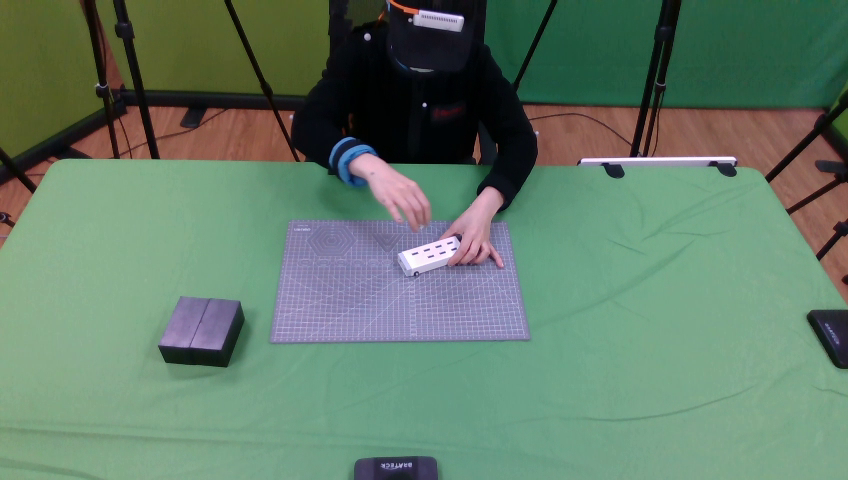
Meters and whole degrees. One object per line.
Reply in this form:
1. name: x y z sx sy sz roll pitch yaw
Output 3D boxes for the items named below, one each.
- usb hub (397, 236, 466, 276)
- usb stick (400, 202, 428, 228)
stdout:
1. usb hub: 0.015 0.030 1.162 0.125 0.025 0.049 -16 50 -19
2. usb stick: -0.014 -0.041 1.092 0.021 0.059 0.027 -48 32 10
